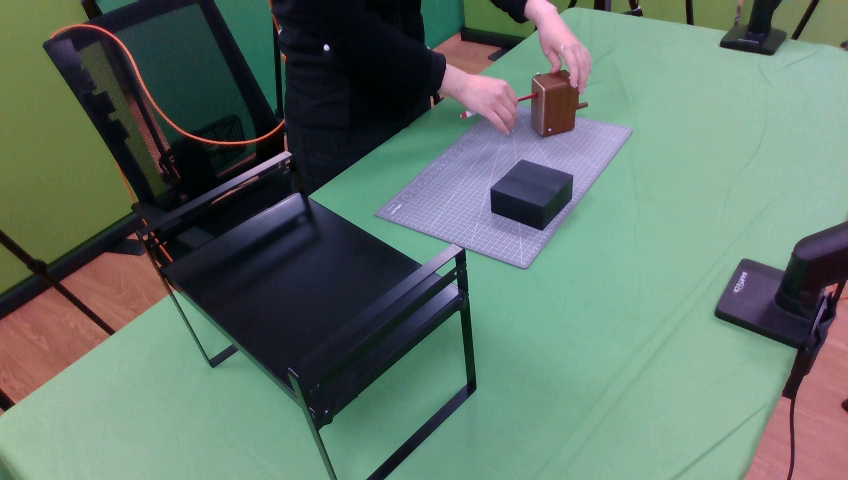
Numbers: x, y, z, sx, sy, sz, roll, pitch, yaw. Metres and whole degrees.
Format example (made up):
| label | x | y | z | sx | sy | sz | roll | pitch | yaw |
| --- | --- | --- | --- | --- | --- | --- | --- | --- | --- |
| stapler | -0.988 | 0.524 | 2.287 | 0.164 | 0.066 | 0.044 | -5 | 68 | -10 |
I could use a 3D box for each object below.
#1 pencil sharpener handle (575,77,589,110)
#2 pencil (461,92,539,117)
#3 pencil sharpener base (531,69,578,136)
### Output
| label | x | y | z | sx | sy | sz | roll | pitch | yaw |
| --- | --- | --- | --- | --- | --- | --- | --- | --- | --- |
| pencil sharpener handle | 0.305 | -0.288 | 1.178 | 0.031 | 0.068 | 0.035 | -15 | 27 | -10 |
| pencil | 0.163 | -0.264 | 1.151 | 0.194 | 0.012 | 0.012 | -16 | 41 | -6 |
| pencil sharpener base | 0.256 | -0.268 | 1.179 | 0.077 | 0.107 | 0.061 | -15 | 41 | -10 |
